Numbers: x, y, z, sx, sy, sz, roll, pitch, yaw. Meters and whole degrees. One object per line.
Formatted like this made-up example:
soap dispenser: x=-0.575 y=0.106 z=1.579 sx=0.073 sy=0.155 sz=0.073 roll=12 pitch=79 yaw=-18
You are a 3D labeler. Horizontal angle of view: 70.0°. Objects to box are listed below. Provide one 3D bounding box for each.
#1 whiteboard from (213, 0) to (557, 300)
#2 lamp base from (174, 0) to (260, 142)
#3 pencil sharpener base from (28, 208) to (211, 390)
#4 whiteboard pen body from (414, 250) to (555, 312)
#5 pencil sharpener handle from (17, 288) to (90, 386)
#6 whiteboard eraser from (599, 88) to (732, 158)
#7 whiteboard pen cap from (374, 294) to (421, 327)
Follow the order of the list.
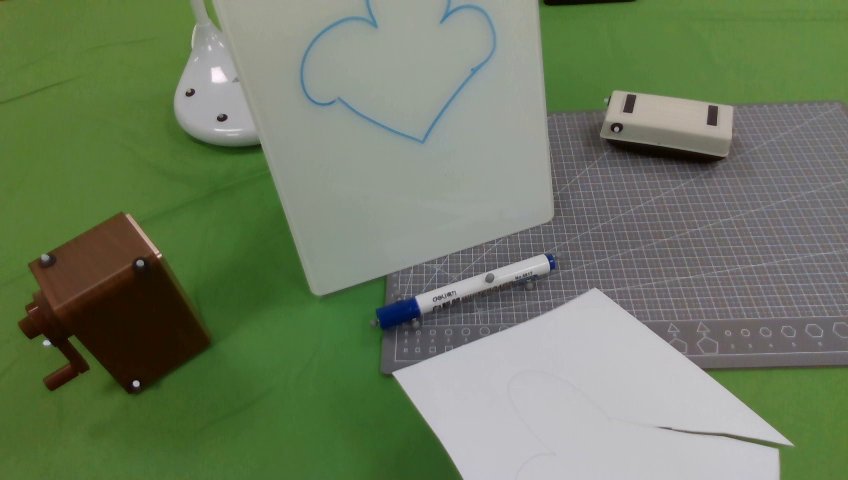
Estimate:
whiteboard: x=-0.033 y=-0.144 z=0.483 sx=0.217 sy=0.308 sz=0.142 roll=-18 pitch=31 yaw=-10
lamp base: x=-0.202 y=-0.216 z=0.602 sx=0.177 sy=0.182 sz=0.160 roll=32 pitch=58 yaw=30
pencil sharpener base: x=-0.210 y=0.045 z=0.425 sx=0.076 sy=0.108 sz=0.061 roll=-36 pitch=56 yaw=-23
whiteboard pen body: x=0.036 y=0.035 z=0.467 sx=0.141 sy=0.017 sz=0.017 roll=-18 pitch=50 yaw=-10
pencil sharpener handle: x=-0.247 y=0.066 z=0.393 sx=0.030 sy=0.068 sz=0.035 roll=-36 pitch=43 yaw=-23
whiteboard eraser: x=0.225 y=-0.108 z=0.566 sx=0.112 sy=0.042 sz=0.055 roll=13 pitch=52 yaw=15
whiteboard pen cap: x=-0.019 y=0.053 z=0.457 sx=0.033 sy=0.018 sz=0.018 roll=-19 pitch=50 yaw=-10
